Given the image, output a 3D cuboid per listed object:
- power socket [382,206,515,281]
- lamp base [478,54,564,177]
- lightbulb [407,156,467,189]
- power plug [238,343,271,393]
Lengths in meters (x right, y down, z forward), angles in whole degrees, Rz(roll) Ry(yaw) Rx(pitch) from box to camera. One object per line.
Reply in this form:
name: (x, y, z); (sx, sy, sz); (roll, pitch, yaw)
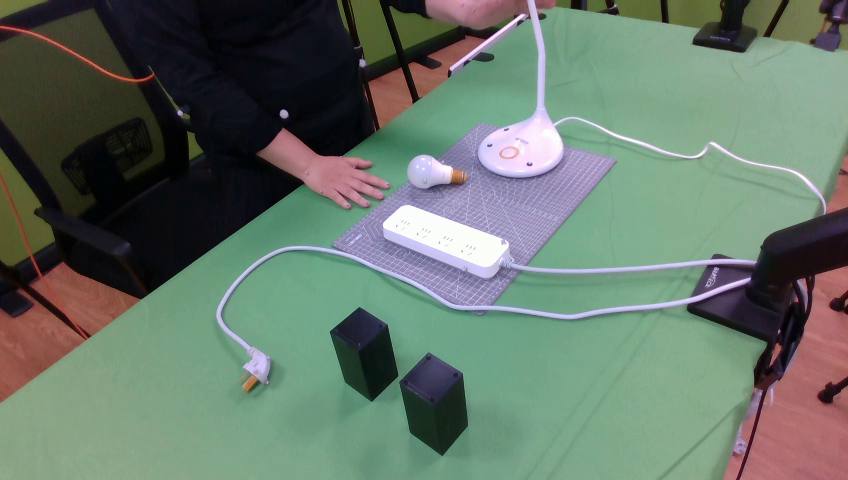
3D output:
power socket: (0.032, 0.002, 0.950); (0.225, 0.033, 0.072); (21, 49, 29)
lamp base: (0.180, -0.232, 1.090); (0.159, 0.181, 0.180); (21, 45, 30)
lightbulb: (0.023, -0.118, 1.081); (0.108, 0.059, 0.059); (7, 40, -7)
power plug: (-0.229, 0.172, 0.801); (0.072, 0.035, 0.053); (8, 51, 51)
